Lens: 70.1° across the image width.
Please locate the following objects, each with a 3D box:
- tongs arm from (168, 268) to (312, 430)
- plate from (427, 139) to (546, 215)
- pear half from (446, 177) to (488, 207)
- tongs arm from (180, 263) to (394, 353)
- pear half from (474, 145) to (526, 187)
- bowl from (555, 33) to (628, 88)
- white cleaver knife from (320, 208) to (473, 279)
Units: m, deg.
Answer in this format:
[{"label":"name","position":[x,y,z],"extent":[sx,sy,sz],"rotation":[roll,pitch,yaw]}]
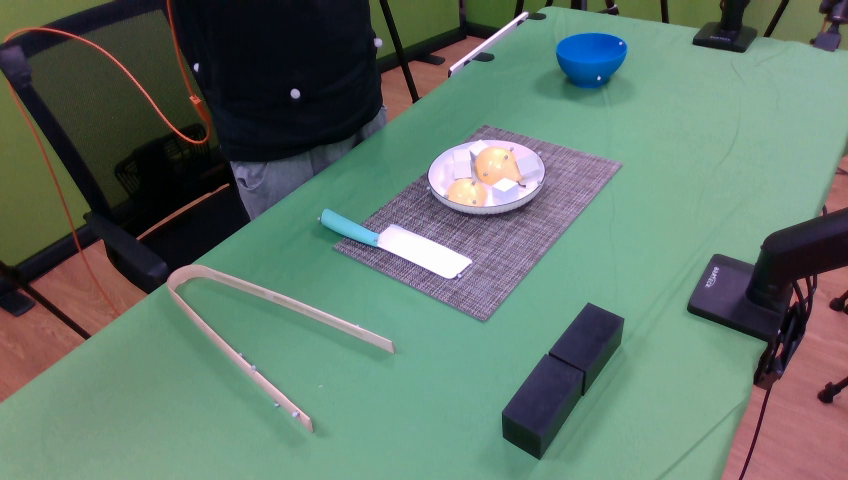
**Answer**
[{"label":"tongs arm","position":[-0.259,0.136,0.835],"extent":[0.381,0.026,0.051],"rotation":[27,50,34]},{"label":"plate","position":[0.109,-0.107,1.059],"extent":[0.207,0.039,0.206],"rotation":[-4,40,4]},{"label":"pear half","position":[0.073,-0.086,1.031],"extent":[0.070,0.031,0.087],"rotation":[-20,36,-10]},{"label":"tongs arm","position":[-0.209,0.095,0.883],"extent":[0.385,0.028,0.028],"rotation":[16,48,25]},{"label":"pear half","position":[0.140,-0.129,1.059],"extent":[0.076,0.056,0.109],"rotation":[-37,53,-25]},{"label":"bowl","position":[0.361,-0.384,1.318],"extent":[0.151,0.077,0.150],"rotation":[-4,41,4]},{"label":"white cleaver knife","position":[-0.053,0.001,0.978],"extent":[0.284,0.021,0.066],"rotation":[23,40,26]}]
